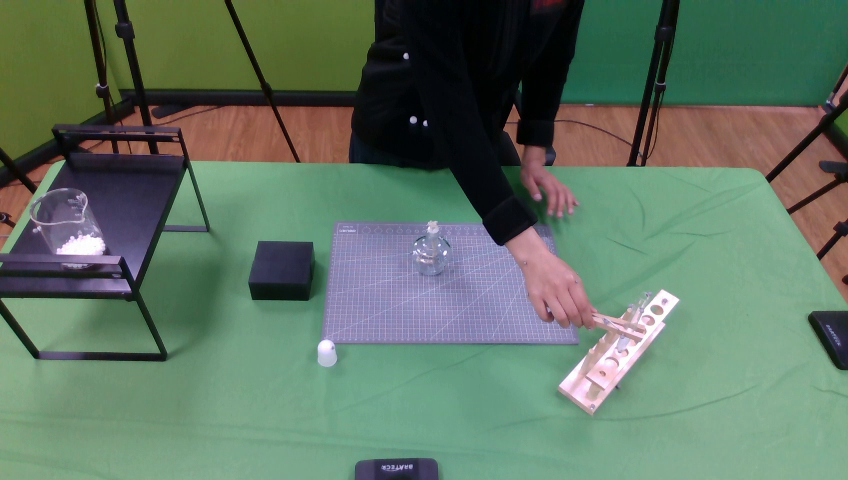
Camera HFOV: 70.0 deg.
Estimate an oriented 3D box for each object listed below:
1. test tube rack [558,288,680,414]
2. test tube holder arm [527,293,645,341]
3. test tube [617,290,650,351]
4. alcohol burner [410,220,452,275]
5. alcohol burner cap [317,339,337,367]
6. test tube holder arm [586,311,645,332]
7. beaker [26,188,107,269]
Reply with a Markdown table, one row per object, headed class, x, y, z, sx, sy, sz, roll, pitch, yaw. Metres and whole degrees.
| class | x | y | z | sx | sy | sz | roll | pitch | yaw |
| --- | --- | --- | --- | --- | --- | --- | --- | --- | --- |
| test tube rack | 0.327 | 0.171 | 1.009 | 0.066 | 0.085 | 0.242 | 35 | 54 | 27 |
| test tube holder arm | 0.243 | 0.115 | 0.917 | 0.178 | 0.015 | 0.013 | 18 | 49 | 13 |
| test tube | 0.306 | 0.122 | 0.892 | 0.017 | 0.151 | 0.017 | -1 | 51 | 1 |
| alcohol burner | 0.013 | 0.008 | 1.120 | 0.078 | 0.120 | 0.077 | 1 | 48 | -1 |
| alcohol burner cap | -0.161 | 0.182 | 0.995 | 0.034 | 0.048 | 0.033 | 2 | 46 | -2 |
| test tube holder arm | 0.287 | 0.123 | 0.912 | 0.088 | 0.015 | 0.010 | 12 | 48 | 8 |
| beaker | -0.504 | -0.012 | 0.867 | 0.084 | 0.101 | 0.074 | 23 | 49 | 17 |
